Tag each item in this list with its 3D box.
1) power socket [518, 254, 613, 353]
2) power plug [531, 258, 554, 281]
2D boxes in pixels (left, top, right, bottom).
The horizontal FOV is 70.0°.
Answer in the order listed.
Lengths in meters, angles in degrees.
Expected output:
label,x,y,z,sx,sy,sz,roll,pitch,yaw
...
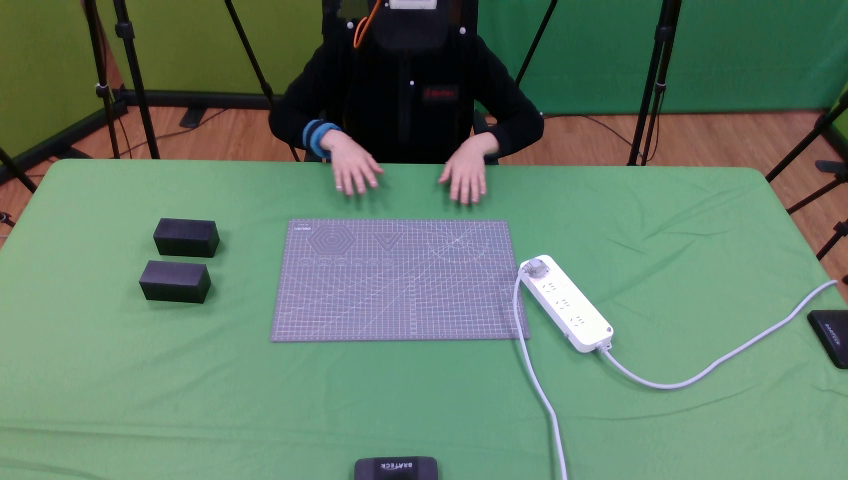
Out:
label,x,y,z,sx,sy,sz,roll,pitch,yaw
power socket,0.252,0.111,1.099,0.072,0.033,0.225,-19,50,-19
power plug,0.231,0.059,1.116,0.073,0.035,0.052,24,39,-11
